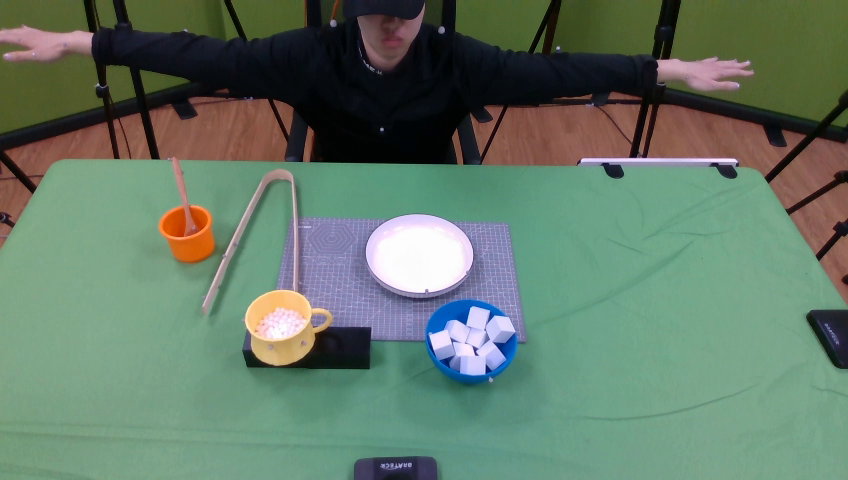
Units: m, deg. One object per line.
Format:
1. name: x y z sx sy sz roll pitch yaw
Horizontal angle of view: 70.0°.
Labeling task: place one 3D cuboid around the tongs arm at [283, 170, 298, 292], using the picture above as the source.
1. tongs arm: -0.259 -0.008 1.178 0.028 0.028 0.385 -8 46 -6

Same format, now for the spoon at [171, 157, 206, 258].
1. spoon: -0.444 -0.061 1.133 0.042 0.194 0.021 -12 4 -19

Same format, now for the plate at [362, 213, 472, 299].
1. plate: -0.014 0.034 1.150 0.208 0.039 0.206 3 46 -2

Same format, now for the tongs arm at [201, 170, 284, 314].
1. tongs arm: -0.342 -0.011 1.172 0.051 0.026 0.382 4 44 2

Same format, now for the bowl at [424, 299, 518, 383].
1. bowl: 0.072 0.179 0.993 0.151 0.077 0.150 3 46 -3

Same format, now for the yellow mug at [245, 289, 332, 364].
1. yellow mug: -0.210 0.133 0.954 0.131 0.064 0.099 -9 48 -14
